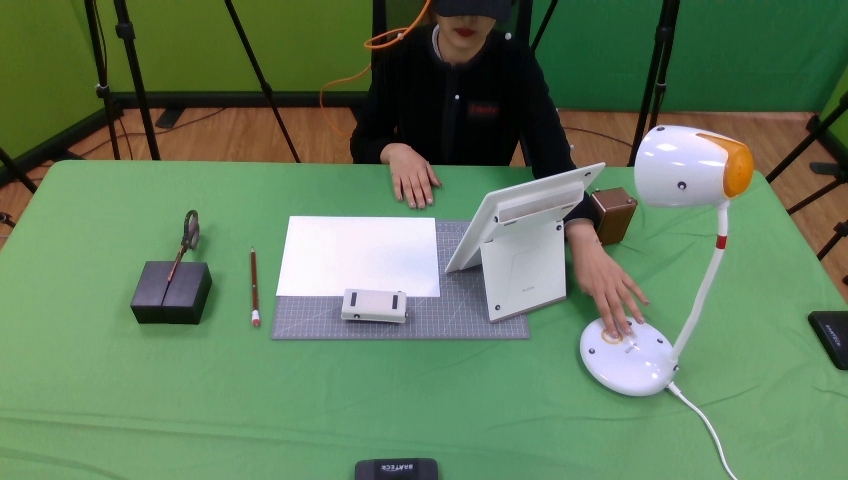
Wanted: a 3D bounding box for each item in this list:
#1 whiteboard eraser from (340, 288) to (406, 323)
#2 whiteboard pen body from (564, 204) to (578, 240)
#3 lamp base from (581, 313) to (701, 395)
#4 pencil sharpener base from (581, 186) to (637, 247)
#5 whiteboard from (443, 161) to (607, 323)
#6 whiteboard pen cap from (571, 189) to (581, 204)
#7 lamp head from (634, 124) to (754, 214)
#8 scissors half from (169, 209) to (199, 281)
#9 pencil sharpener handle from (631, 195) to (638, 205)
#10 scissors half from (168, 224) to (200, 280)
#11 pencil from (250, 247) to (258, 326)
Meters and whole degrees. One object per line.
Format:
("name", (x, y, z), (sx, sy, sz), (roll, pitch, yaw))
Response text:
("whiteboard eraser", (-0.088, 0.117, 1.060), (0.113, 0.042, 0.055), (3, 45, -1))
("whiteboard pen body", (0.307, -0.052, 1.271), (0.017, 0.017, 0.140), (17, 49, 12))
("lamp base", (0.361, 0.144, 0.972), (0.178, 0.181, 0.160), (34, 53, 23))
("pencil sharpener base", (0.369, -0.047, 1.209), (0.077, 0.107, 0.061), (-11, 47, -15))
("whiteboard", (0.185, 0.025, 1.029), (0.217, 0.306, 0.143), (-15, 68, -18))
("whiteboard pen cap", (0.328, -0.093, 1.307), (0.018, 0.018, 0.033), (19, 50, 14))
("lamp head", (0.351, -0.089, 0.776), (0.112, 0.113, 0.122), (-30, 30, -28))
("scissors half", (-0.438, 0.007, 1.098), (0.013, 0.040, 0.174), (3, 48, -3))
("pencil sharpener handle", (0.417, -0.068, 1.215), (0.031, 0.068, 0.036), (-11, 61, -15))
("scissors half", (-0.440, 0.023, 1.111), (0.013, 0.040, 0.174), (7, 29, -6))
("pencil", (-0.312, 0.079, 1.107), (0.012, 0.012, 0.192), (-7, 46, -11))
